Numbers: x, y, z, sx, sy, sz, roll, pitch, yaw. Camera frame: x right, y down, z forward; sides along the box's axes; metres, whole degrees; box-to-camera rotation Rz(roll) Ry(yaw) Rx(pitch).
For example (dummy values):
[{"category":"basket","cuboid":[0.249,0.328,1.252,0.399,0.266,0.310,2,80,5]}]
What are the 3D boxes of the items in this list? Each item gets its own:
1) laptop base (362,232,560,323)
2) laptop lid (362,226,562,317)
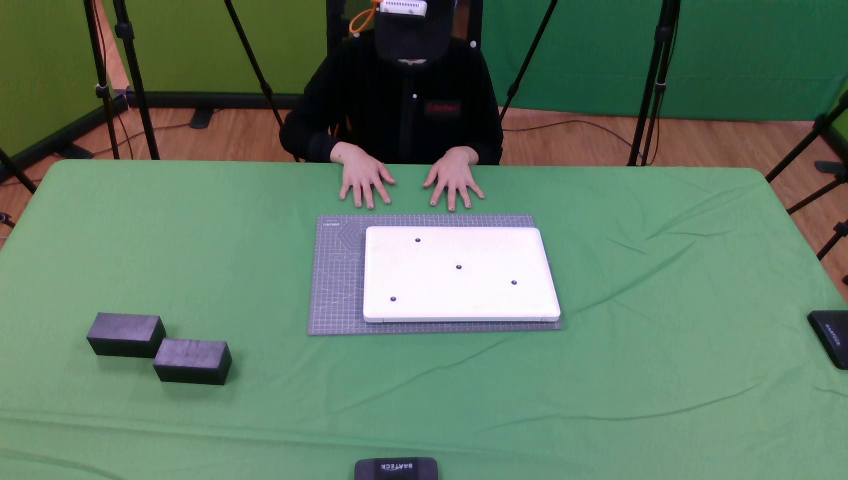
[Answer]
[{"category":"laptop base","cuboid":[0.064,0.063,1.143,0.355,0.023,0.234,0,43,-4]},{"category":"laptop lid","cuboid":[0.064,0.053,1.136,0.357,0.013,0.240,1,44,-3]}]
